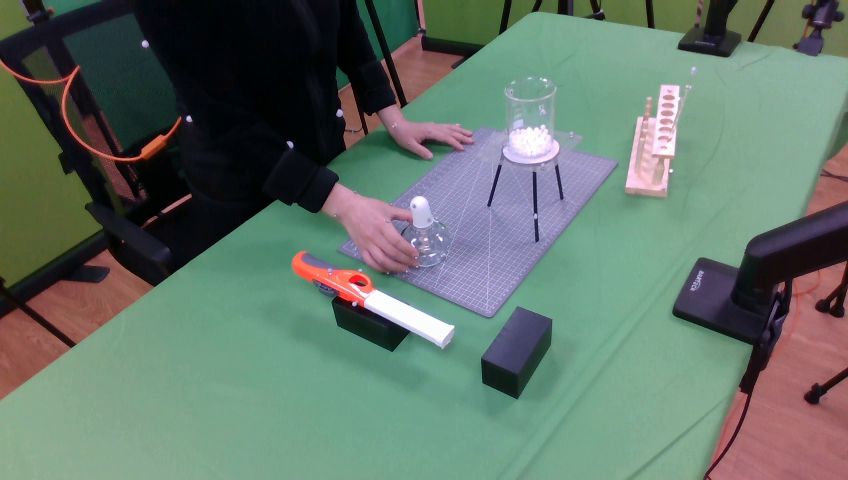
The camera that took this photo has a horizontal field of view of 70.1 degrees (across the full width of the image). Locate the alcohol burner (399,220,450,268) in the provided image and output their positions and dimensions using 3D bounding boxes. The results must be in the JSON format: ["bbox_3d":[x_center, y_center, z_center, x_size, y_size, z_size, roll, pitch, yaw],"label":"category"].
[{"bbox_3d":[-0.001,-0.016,0.920,0.078,0.119,0.077,-5,41,5],"label":"alcohol burner"}]

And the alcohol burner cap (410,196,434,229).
[{"bbox_3d":[-0.004,-0.043,0.896,0.034,0.048,0.033,-8,41,7],"label":"alcohol burner cap"}]

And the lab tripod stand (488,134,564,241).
[{"bbox_3d":[0.168,-0.092,0.972,0.148,0.132,0.147,-5,41,5],"label":"lab tripod stand"}]

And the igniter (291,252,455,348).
[{"bbox_3d":[-0.080,0.076,0.822,0.274,0.025,0.057,23,46,27],"label":"igniter"}]

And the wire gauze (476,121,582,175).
[{"bbox_3d":[0.162,-0.141,0.929,0.120,0.011,0.125,19,49,32],"label":"wire gauze"}]

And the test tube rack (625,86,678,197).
[{"bbox_3d":[0.412,-0.184,1.088,0.066,0.085,0.242,9,43,18],"label":"test tube rack"}]

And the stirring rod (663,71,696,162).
[{"bbox_3d":[0.410,-0.196,0.981,0.014,0.177,0.006,12,50,14],"label":"stirring rod"}]

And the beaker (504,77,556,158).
[{"bbox_3d":[0.160,-0.181,0.900,0.084,0.101,0.073,-33,46,-27],"label":"beaker"}]
